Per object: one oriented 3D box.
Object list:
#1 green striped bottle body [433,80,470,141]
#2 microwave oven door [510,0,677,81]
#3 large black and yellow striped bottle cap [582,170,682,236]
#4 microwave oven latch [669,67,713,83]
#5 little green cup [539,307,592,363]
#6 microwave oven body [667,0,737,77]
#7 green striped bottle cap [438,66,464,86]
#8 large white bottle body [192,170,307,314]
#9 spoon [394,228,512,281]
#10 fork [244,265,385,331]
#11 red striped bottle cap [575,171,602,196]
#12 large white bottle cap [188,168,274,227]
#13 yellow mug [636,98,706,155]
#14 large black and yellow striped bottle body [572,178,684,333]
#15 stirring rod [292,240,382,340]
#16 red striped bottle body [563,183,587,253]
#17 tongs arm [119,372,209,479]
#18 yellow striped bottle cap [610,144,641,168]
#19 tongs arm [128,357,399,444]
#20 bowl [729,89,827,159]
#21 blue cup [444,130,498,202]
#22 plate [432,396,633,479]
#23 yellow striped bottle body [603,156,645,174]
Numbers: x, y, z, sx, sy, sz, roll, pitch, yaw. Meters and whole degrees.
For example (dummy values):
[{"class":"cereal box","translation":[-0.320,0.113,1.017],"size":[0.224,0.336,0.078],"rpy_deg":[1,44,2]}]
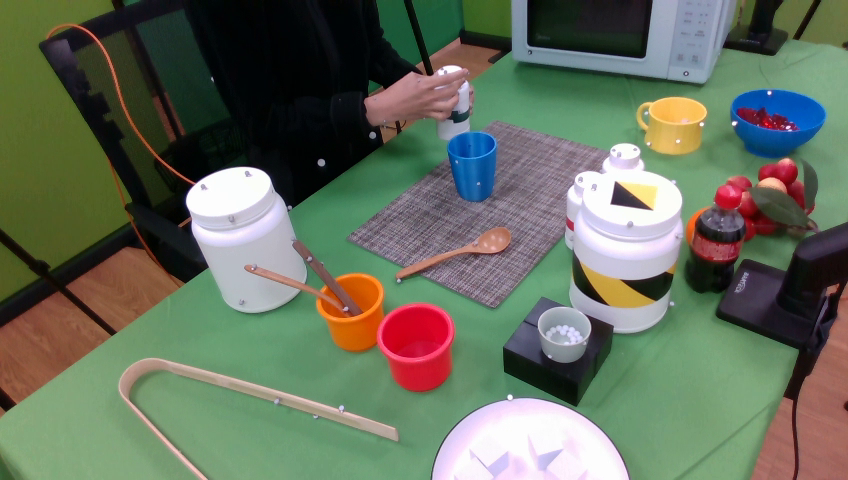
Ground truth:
[{"class":"green striped bottle body","translation":[0.049,-0.239,1.067],"size":[0.063,0.120,0.063],"rpy_deg":[-3,40,3]},{"class":"microwave oven door","translation":[0.354,-0.478,1.290],"size":[0.353,0.245,0.039],"rpy_deg":[15,45,25]},{"class":"large black and yellow striped bottle cap","translation":[0.252,-0.048,0.735],"size":[0.115,0.019,0.114],"rpy_deg":[-3,40,3]},{"class":"microwave oven latch","translation":[0.556,-0.348,1.261],"size":[0.078,0.029,0.030],"rpy_deg":[16,46,27]},{"class":"little green cup","translation":[0.168,0.115,0.721],"size":[0.061,0.039,0.061],"rpy_deg":[-4,42,4]},{"class":"microwave oven body","translation":[0.462,-0.552,1.369],"size":[0.439,0.261,0.326],"rpy_deg":[15,45,26]},{"class":"green striped bottle cap","translation":[0.047,-0.279,1.034],"size":[0.044,0.020,0.044],"rpy_deg":[-3,41,3]},{"class":"large white bottle body","translation":[-0.256,0.003,0.885],"size":[0.130,0.185,0.130],"rpy_deg":[-4,40,4]},{"class":"spoon","translation":[0.045,0.024,0.935],"size":[0.194,0.022,0.041],"rpy_deg":[-18,66,-11]},{"class":"fork","translation":[-0.142,0.078,0.806],"size":[0.209,0.018,0.028],"rpy_deg":[30,32,-23]},{"class":"red striped bottle cap","translation":[0.242,-0.081,0.876],"size":[0.044,0.018,0.044],"rpy_deg":[-5,44,5]},{"class":"large white bottle cap","translation":[-0.264,-0.061,0.831],"size":[0.115,0.018,0.114],"rpy_deg":[-4,40,4]},{"class":"yellow mug","translation":[0.453,-0.217,1.129],"size":[0.100,0.064,0.129],"rpy_deg":[-34,46,-27]},{"class":"large black and yellow striped bottle body","translation":[0.262,0.017,0.788],"size":[0.131,0.185,0.130],"rpy_deg":[-5,40,4]},{"class":"stirring rod","translation":[-0.119,0.068,0.826],"size":[0.176,0.006,0.014],"rpy_deg":[49,58,-4]},{"class":"red striped bottle body","translation":[0.246,-0.041,0.910],"size":[0.063,0.120,0.062],"rpy_deg":[-2,38,2]},{"class":"tongs arm","translation":[-0.258,0.257,0.700],"size":[0.384,0.028,0.028],"rpy_deg":[24,55,34]},{"class":"yellow striped bottle cap","translation":[0.307,-0.128,0.923],"size":[0.044,0.019,0.044],"rpy_deg":[-6,39,5]},{"class":"tongs arm","translation":[-0.213,0.205,0.755],"size":[0.382,0.026,0.051],"rpy_deg":[12,46,23]},{"class":"bowl","translation":[0.615,-0.197,1.069],"size":[0.151,0.077,0.150],"rpy_deg":[-5,40,5]},{"class":"blue cup","translation":[0.087,-0.123,1.040],"size":[0.092,0.100,0.092],"rpy_deg":[-5,42,5]},{"class":"plate","translation":[0.112,0.261,0.634],"size":[0.209,0.038,0.208],"rpy_deg":[-5,40,4]},{"class":"yellow striped bottle body","translation":[0.313,-0.089,0.956],"size":[0.063,0.121,0.062],"rpy_deg":[-5,40,4]}]
